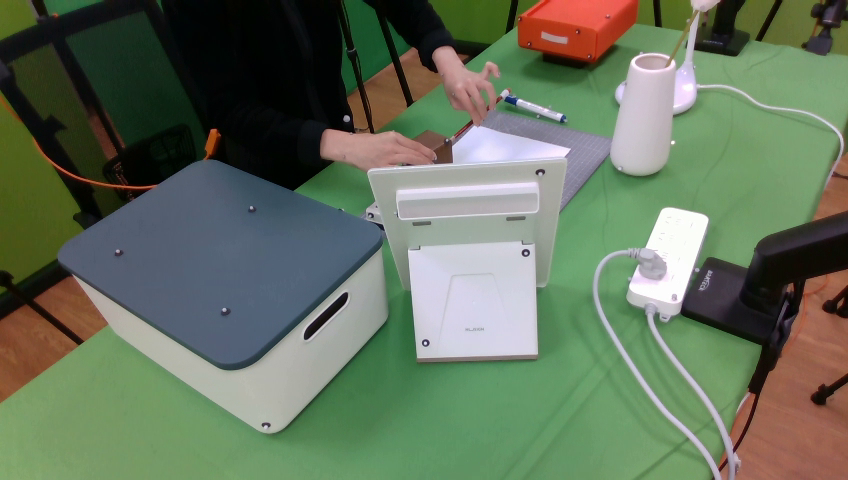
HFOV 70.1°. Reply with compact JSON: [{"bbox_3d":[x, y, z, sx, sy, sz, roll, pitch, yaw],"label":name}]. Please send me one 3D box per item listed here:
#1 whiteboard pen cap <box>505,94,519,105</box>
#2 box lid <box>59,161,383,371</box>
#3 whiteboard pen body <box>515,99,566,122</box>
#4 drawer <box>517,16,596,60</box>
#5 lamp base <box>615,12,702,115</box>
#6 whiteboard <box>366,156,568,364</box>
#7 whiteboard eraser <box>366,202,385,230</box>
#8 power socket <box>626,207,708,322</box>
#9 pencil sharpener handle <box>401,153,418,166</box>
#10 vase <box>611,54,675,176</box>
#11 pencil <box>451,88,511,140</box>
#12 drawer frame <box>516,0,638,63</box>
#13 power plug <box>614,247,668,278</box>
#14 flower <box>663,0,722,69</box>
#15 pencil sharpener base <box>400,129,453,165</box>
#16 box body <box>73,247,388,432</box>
[{"bbox_3d":[0.190,-0.299,1.292,0.033,0.018,0.018,30,52,28],"label":"whiteboard pen cap"},{"bbox_3d":[-0.262,0.010,0.777,0.369,0.015,0.264,21,48,29],"label":"box lid"},{"bbox_3d":[0.234,-0.274,1.262,0.139,0.017,0.017,28,51,29],"label":"whiteboard pen body"},{"bbox_3d":[0.352,-0.506,1.405,0.193,0.073,0.212,23,49,32],"label":"drawer"},{"bbox_3d":[0.484,-0.363,1.211,0.180,0.181,0.159,-15,41,-14],"label":"lamp base"},{"bbox_3d":[0.059,0.050,0.738,0.217,0.307,0.143,-2,60,6],"label":"whiteboard"},{"bbox_3d":[-0.038,-0.038,1.007,0.112,0.042,0.055,16,48,25],"label":"whiteboard eraser"},{"bbox_3d":[0.359,0.025,0.886,0.072,0.033,0.227,16,46,26],"label":"power socket"},{"bbox_3d":[-0.031,-0.109,1.014,0.035,0.068,0.031,30,51,32],"label":"pencil sharpener handle"},{"bbox_3d":[0.377,-0.209,1.031,0.098,0.201,0.097,-3,40,3],"label":"vase"},{"bbox_3d":[0.101,-0.227,1.096,0.012,0.012,0.194,25,54,32],"label":"pencil"},{"bbox_3d":[0.355,-0.508,1.410,0.200,0.083,0.214,23,51,32],"label":"drawer frame"},{"bbox_3d":[0.306,0.031,0.851,0.072,0.053,0.035,24,49,33],"label":"power plug"},{"bbox_3d":[0.379,-0.261,0.965,0.044,0.362,0.038,20,53,5],"label":"flower"},{"bbox_3d":[0.006,-0.125,1.049,0.061,0.107,0.077,28,50,34],"label":"pencil sharpener base"},{"bbox_3d":[-0.255,0.065,0.827,0.361,0.161,0.255,21,48,29],"label":"box body"}]
